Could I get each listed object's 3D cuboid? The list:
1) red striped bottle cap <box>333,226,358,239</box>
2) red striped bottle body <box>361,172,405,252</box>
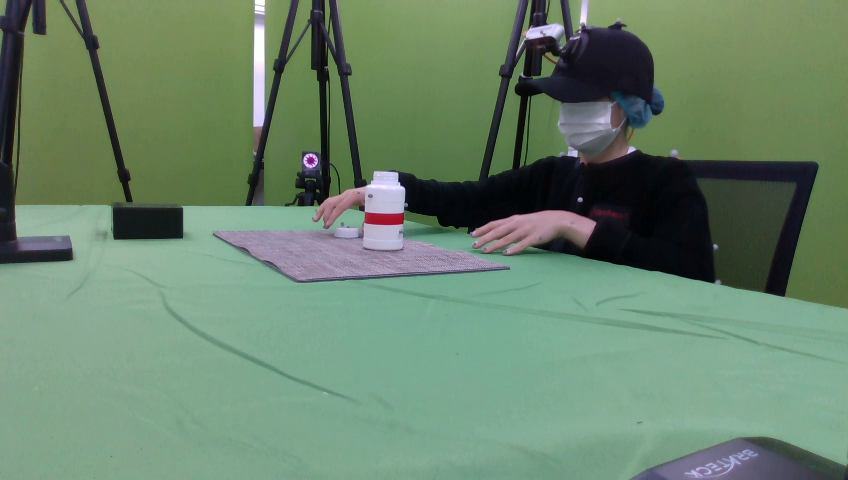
[{"bbox_3d":[-0.138,-0.014,1.068,0.044,0.017,0.044,-1,9,0],"label":"red striped bottle cap"},{"bbox_3d":[-0.062,-0.044,0.932,0.063,0.119,0.063,4,7,0],"label":"red striped bottle body"}]
